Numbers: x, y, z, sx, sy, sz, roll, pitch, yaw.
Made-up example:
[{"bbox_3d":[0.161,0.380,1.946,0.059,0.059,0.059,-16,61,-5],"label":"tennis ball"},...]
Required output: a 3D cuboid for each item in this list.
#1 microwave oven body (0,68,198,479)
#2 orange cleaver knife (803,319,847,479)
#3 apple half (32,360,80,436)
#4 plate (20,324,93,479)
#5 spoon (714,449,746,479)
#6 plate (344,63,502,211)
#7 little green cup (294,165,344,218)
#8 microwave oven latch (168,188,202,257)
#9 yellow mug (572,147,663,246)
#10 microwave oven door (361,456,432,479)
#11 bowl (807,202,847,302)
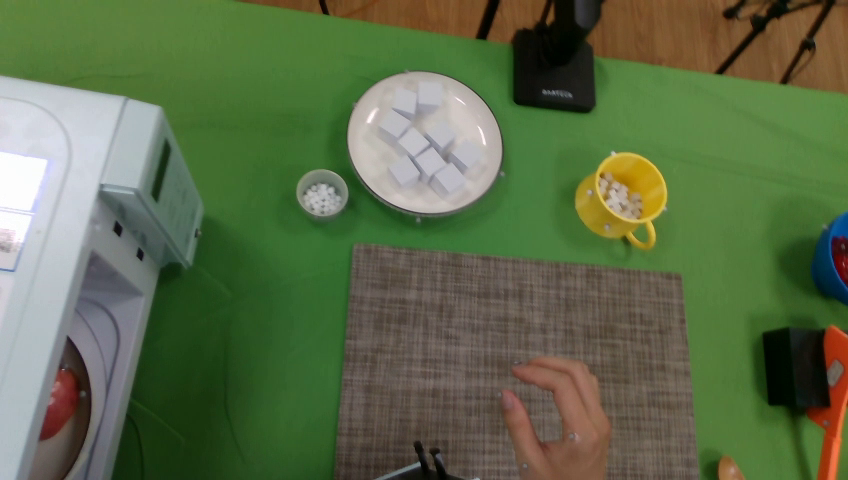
[{"bbox_3d":[-0.419,0.096,0.524,0.327,0.261,0.439,8,73,-9],"label":"microwave oven body"},{"bbox_3d":[0.515,0.209,0.776,0.012,0.077,0.211,6,96,-5],"label":"orange cleaver knife"},{"bbox_3d":[-0.371,0.146,0.568,0.081,0.033,0.081,2,73,-7],"label":"apple half"},{"bbox_3d":[-0.417,0.162,0.562,0.210,0.038,0.208,3,73,-10],"label":"plate"},{"bbox_3d":[0.427,0.338,0.752,0.193,0.022,0.041,46,52,4],"label":"spoon"},{"bbox_3d":[-0.002,-0.133,0.798,0.208,0.039,0.206,3,73,-10],"label":"plate"},{"bbox_3d":[-0.130,-0.057,0.748,0.062,0.039,0.061,4,74,-12],"label":"little green cup"},{"bbox_3d":[-0.274,-0.022,0.690,0.030,0.029,0.078,10,73,-9],"label":"microwave oven latch"},{"bbox_3d":[0.266,-0.053,0.813,0.100,0.064,0.130,-23,80,-18],"label":"yellow mug"},{"bbox_3d":[-0.138,0.272,0.523,0.356,0.244,0.039,-16,76,-15],"label":"microwave oven door"},{"bbox_3d":[0.599,0.027,0.850,0.152,0.077,0.150,3,73,-10],"label":"bowl"}]
